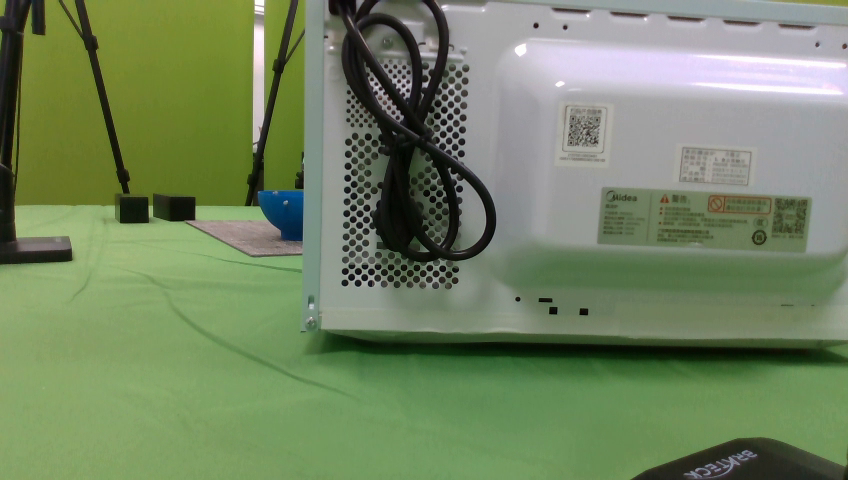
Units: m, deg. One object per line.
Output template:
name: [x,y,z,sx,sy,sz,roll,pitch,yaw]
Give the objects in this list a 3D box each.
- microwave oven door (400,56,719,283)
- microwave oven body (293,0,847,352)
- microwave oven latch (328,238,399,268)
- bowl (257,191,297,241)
microwave oven door: [0.155,-0.077,0.698,0.356,0.243,0.039,2,8,-5]
microwave oven body: [0.122,-0.055,0.550,0.442,0.260,0.325,3,7,-5]
microwave oven latch: [-0.069,0.015,0.694,0.079,0.029,0.030,3,7,-3]
bowl: [-0.206,-0.041,1.027,0.151,0.077,0.151,3,8,0]
